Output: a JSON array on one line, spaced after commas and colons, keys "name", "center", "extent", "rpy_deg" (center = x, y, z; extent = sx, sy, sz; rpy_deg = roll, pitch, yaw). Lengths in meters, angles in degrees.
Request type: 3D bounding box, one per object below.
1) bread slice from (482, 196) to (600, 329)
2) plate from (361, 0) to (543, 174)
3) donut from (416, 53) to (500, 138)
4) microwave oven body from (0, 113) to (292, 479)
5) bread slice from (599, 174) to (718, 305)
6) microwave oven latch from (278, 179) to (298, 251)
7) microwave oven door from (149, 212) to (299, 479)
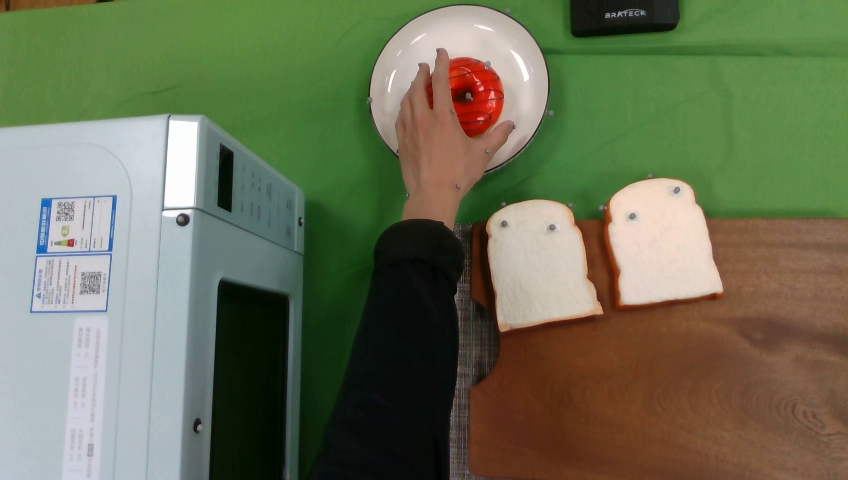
[{"name": "bread slice", "center": [0.114, 0.021, 0.638], "extent": [0.107, 0.018, 0.133], "rpy_deg": [-14, 78, 5]}, {"name": "plate", "center": [0.032, -0.173, 0.702], "extent": [0.207, 0.039, 0.207], "rpy_deg": [-1, 81, 8]}, {"name": "donut", "center": [0.038, -0.164, 0.688], "extent": [0.099, 0.048, 0.098], "rpy_deg": [-2, 81, 12]}, {"name": "microwave oven body", "center": [-0.316, 0.137, 0.585], "extent": [0.326, 0.261, 0.440], "rpy_deg": [-2, 81, 7]}, {"name": "bread slice", "center": [0.235, -0.004, 0.626], "extent": [0.105, 0.019, 0.131], "rpy_deg": [-10, 80, 5]}, {"name": "microwave oven latch", "center": [-0.159, -0.028, 0.687], "extent": [0.030, 0.029, 0.079], "rpy_deg": [-1, 81, 8]}, {"name": "microwave oven door", "center": [-0.171, 0.170, 0.554], "extent": [0.039, 0.245, 0.354], "rpy_deg": [-3, 80, 8]}]
